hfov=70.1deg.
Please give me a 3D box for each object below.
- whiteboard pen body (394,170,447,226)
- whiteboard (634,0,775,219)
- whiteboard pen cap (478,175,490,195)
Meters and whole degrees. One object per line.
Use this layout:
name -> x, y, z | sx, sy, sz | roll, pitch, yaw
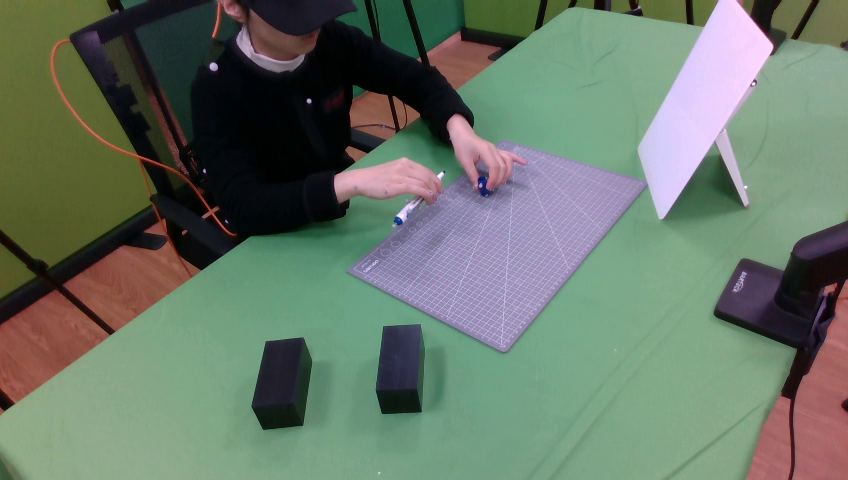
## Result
whiteboard pen body -> -0.002, -0.070, 0.966 | 0.017, 0.017, 0.141 | 21, 52, 29
whiteboard -> 0.485, -0.193, 0.957 | 0.144, 0.305, 0.216 | 14, 41, -4
whiteboard pen cap -> 0.103, -0.096, 1.047 | 0.018, 0.033, 0.018 | -9, 43, 9
